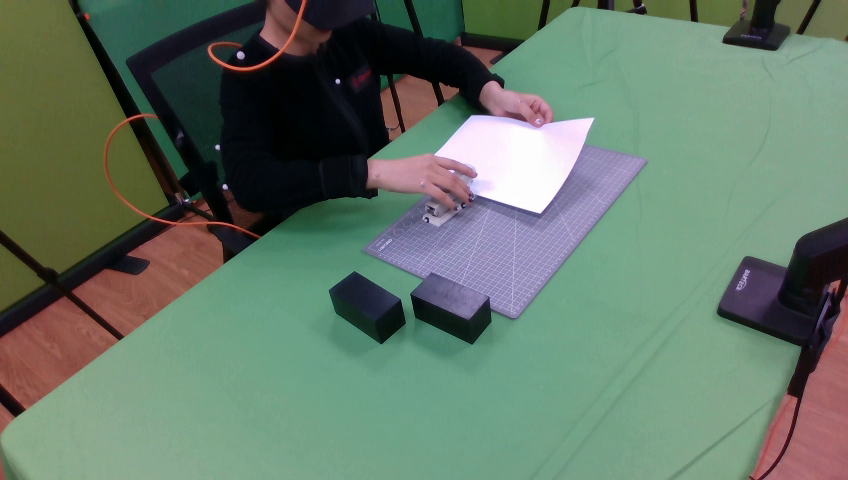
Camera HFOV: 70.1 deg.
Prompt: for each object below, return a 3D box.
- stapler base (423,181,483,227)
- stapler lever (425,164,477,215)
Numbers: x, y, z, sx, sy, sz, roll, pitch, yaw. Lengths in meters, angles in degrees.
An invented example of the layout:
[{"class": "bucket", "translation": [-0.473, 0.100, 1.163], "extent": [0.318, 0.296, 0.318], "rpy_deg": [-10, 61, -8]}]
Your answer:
[{"class": "stapler base", "translation": [0.052, -0.071, 1.052], "extent": [0.041, 0.024, 0.131], "rpy_deg": [24, 52, 35]}, {"class": "stapler lever", "translation": [0.048, -0.089, 1.035], "extent": [0.026, 0.040, 0.118], "rpy_deg": [24, 52, 35]}]
